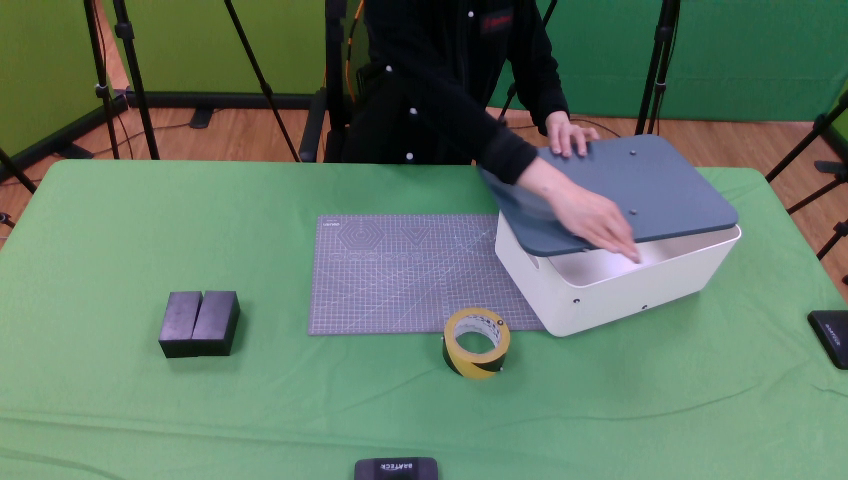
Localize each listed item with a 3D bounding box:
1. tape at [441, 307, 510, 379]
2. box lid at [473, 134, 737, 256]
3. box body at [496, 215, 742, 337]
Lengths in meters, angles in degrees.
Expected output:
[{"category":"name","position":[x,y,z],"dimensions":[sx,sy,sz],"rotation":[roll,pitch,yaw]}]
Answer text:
[{"category":"tape","position":[0.087,0.172,1.014],"dimensions":[0.117,0.053,0.116],"rotation":[2,48,-2]},{"category":"box lid","position":[0.284,-0.085,0.988],"dimensions":[0.372,0.015,0.261],"rotation":[-8,42,-13]},{"category":"box body","position":[0.340,0.003,1.118],"dimensions":[0.364,0.161,0.252],"rotation":[-15,49,-18]}]
